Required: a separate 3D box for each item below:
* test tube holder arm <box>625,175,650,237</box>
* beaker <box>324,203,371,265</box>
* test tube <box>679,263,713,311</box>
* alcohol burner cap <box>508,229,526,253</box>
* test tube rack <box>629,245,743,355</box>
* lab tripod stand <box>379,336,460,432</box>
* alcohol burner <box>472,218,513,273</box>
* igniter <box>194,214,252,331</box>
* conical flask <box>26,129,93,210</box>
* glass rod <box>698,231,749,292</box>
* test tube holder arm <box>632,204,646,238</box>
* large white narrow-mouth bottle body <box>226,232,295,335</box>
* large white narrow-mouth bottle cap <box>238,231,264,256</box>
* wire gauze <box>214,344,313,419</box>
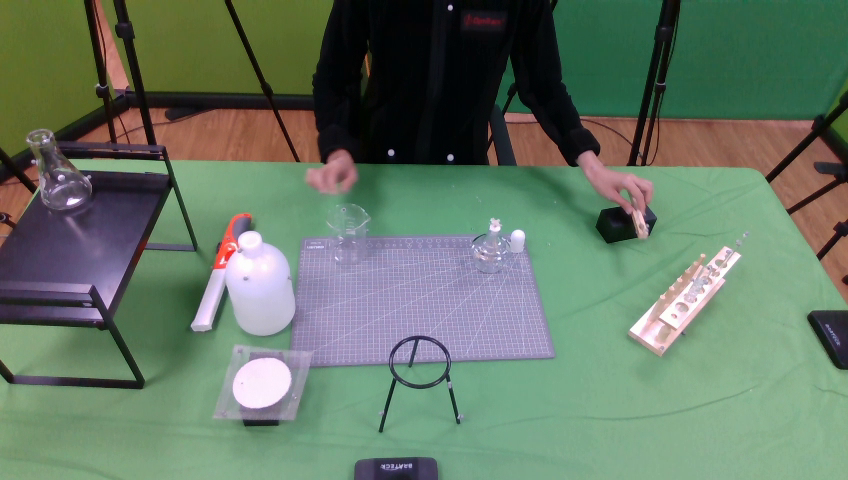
[{"bbox_3d":[0.424,-0.070,1.209,0.013,0.015,0.177,-2,44,5],"label":"test tube holder arm"},{"bbox_3d":[-0.142,-0.009,1.137,0.084,0.101,0.073,-2,47,-7],"label":"beaker"},{"bbox_3d":[0.453,0.092,1.023,0.017,0.151,0.017,1,49,-1],"label":"test tube"},{"bbox_3d":[0.185,-0.002,1.192,0.034,0.048,0.033,3,44,-2],"label":"alcohol burner cap"},{"bbox_3d":[0.474,0.095,1.091,0.242,0.085,0.066,-34,56,-31],"label":"test tube rack"},{"bbox_3d":[-0.010,0.214,0.911,0.148,0.132,0.147,1,45,-1],"label":"lab tripod stand"},{"bbox_3d":[0.128,0.005,1.132,0.078,0.120,0.077,0,47,0],"label":"alcohol burner"},{"bbox_3d":[-0.367,0.050,1.118,0.057,0.025,0.275,-4,45,7],"label":"igniter"},{"bbox_3d":[-0.575,-0.113,0.946,0.075,0.122,0.075,2,46,-2],"label":"conical flask"},{"bbox_3d":[0.514,0.044,1.051,0.008,0.200,0.008,1,55,-1],"label":"glass rod"},{"bbox_3d":[0.416,-0.039,1.178,0.010,0.015,0.087,-1,44,6],"label":"test tube holder arm"},{"bbox_3d":[-0.270,0.065,0.995,0.102,0.195,0.101,2,46,-2],"label":"large white narrow-mouth bottle body"},{"bbox_3d":[-0.266,0.006,0.932,0.038,0.024,0.037,2,46,-2],"label":"large white narrow-mouth bottle cap"},{"bbox_3d":[-0.241,0.213,0.915,0.121,0.011,0.124,5,46,1],"label":"wire gauze"}]
